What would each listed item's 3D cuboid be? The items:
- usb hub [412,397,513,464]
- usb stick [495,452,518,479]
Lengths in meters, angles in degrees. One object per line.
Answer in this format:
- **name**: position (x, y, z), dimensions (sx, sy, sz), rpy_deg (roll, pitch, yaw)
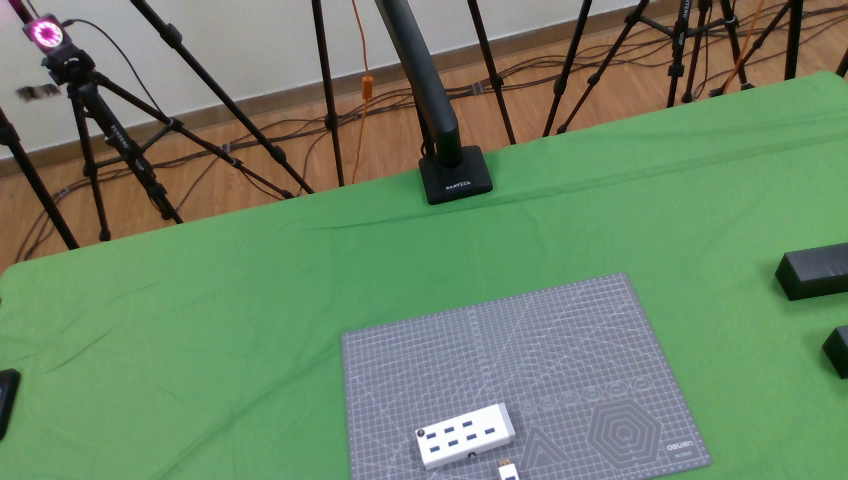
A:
- **usb hub**: position (0.050, 0.251, 0.801), dimensions (0.125, 0.025, 0.049), rpy_deg (-17, 51, -3)
- **usb stick**: position (0.104, 0.292, 0.758), dimensions (0.021, 0.027, 0.058), rpy_deg (-18, 48, 2)
